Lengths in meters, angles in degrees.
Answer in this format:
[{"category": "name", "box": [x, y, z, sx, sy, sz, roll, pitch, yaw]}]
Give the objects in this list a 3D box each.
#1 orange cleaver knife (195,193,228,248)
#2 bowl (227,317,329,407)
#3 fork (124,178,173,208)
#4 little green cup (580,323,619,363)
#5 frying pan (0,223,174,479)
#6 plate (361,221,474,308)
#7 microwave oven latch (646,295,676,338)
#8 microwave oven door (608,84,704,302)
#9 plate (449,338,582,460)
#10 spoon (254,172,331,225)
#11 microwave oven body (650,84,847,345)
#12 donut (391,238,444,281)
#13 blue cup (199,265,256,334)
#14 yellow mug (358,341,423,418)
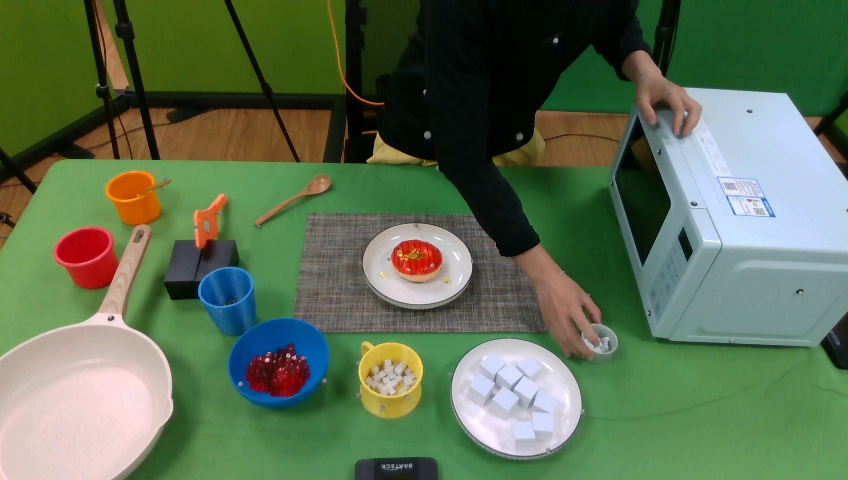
[{"category": "orange cleaver knife", "box": [-0.406, -0.041, 1.163, 0.012, 0.077, 0.210, -1, 18, -3]}, {"category": "bowl", "box": [-0.222, 0.203, 0.947, 0.151, 0.077, 0.150, 2, 46, -2]}, {"category": "fork", "box": [-0.525, -0.090, 1.154, 0.207, 0.019, 0.028, -17, 27, 45]}, {"category": "little green cup", "box": [0.297, 0.178, 1.033, 0.061, 0.039, 0.061, 2, 43, -2]}, {"category": "frying pan", "box": [-0.505, 0.169, 0.941, 0.307, 0.103, 0.485, 5, 54, -1]}, {"category": "plate", "box": [-0.011, 0.049, 1.130, 0.209, 0.038, 0.208, 2, 46, -2]}, {"category": "microwave oven latch", "box": [0.412, 0.133, 1.060, 0.030, 0.029, 0.078, 4, 46, 1]}, {"category": "microwave oven door", "box": [0.425, -0.096, 1.138, 0.039, 0.245, 0.353, 2, 46, -1]}, {"category": "plate", "box": [0.141, 0.251, 0.955, 0.208, 0.039, 0.206, 2, 46, -2]}, {"category": "spoon", "box": [-0.272, -0.087, 1.257, 0.041, 0.022, 0.193, 45, 57, 13]}, {"category": "microwave oven body", "box": [0.568, -0.054, 1.116, 0.326, 0.261, 0.439, 2, 46, -1]}, {"category": "donut", "box": [-0.012, 0.035, 1.128, 0.099, 0.048, 0.098, 3, 43, -3]}, {"category": "blue cup", "box": [-0.321, 0.106, 1.015, 0.093, 0.101, 0.092, 2, 48, -2]}, {"category": "yellow mug", "box": [-0.062, 0.210, 0.961, 0.100, 0.064, 0.130, -29, 54, -27]}]
